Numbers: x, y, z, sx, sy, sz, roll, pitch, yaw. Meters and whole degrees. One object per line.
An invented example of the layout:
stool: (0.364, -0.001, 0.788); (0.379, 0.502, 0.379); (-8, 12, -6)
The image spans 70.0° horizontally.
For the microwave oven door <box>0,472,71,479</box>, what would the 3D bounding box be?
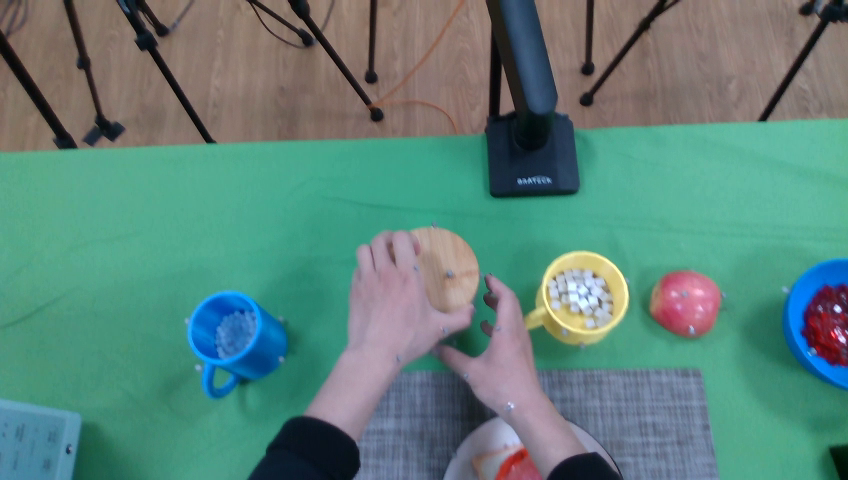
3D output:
microwave oven door: (-0.433, 0.395, 0.536); (0.039, 0.245, 0.353); (-2, 70, 3)

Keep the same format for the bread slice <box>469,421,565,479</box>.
bread slice: (0.122, 0.280, 0.672); (0.107, 0.018, 0.133); (-19, 70, -1)

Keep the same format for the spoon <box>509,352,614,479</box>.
spoon: (0.155, 0.205, 0.676); (0.042, 0.022, 0.192); (-19, 71, -41)

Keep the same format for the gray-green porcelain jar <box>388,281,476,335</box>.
gray-green porcelain jar: (0.009, 0.053, 0.715); (0.106, 0.127, 0.105); (-1, 69, 3)

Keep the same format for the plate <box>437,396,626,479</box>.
plate: (0.117, 0.281, 0.670); (0.207, 0.039, 0.206); (-1, 71, 3)

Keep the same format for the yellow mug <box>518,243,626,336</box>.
yellow mug: (0.173, 0.067, 0.732); (0.131, 0.064, 0.099); (-24, 70, -5)

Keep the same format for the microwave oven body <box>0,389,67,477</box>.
microwave oven body: (-0.578, 0.361, 0.562); (0.326, 0.262, 0.438); (-1, 71, 3)

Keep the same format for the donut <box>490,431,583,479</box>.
donut: (0.120, 0.256, 0.648); (0.099, 0.048, 0.098); (-1, 69, 3)

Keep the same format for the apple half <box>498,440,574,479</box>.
apple half: (0.116, 0.245, 0.614); (0.081, 0.033, 0.080); (-4, 69, 10)

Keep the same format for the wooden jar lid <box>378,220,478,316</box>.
wooden jar lid: (0.004, 0.031, 0.657); (0.108, 0.021, 0.107); (-2, 69, 4)

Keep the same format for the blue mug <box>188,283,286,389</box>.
blue mug: (-0.224, 0.120, 0.715); (0.082, 0.106, 0.116); (18, 72, 10)

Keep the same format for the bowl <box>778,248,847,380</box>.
bowl: (0.477, 0.093, 0.699); (0.151, 0.077, 0.150); (-1, 71, 3)

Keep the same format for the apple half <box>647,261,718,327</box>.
apple half: (0.316, 0.060, 0.734); (0.074, 0.054, 0.080); (19, 73, 13)

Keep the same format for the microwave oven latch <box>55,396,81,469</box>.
microwave oven latch: (-0.426, 0.224, 0.705); (0.030, 0.030, 0.078); (5, 71, 5)
